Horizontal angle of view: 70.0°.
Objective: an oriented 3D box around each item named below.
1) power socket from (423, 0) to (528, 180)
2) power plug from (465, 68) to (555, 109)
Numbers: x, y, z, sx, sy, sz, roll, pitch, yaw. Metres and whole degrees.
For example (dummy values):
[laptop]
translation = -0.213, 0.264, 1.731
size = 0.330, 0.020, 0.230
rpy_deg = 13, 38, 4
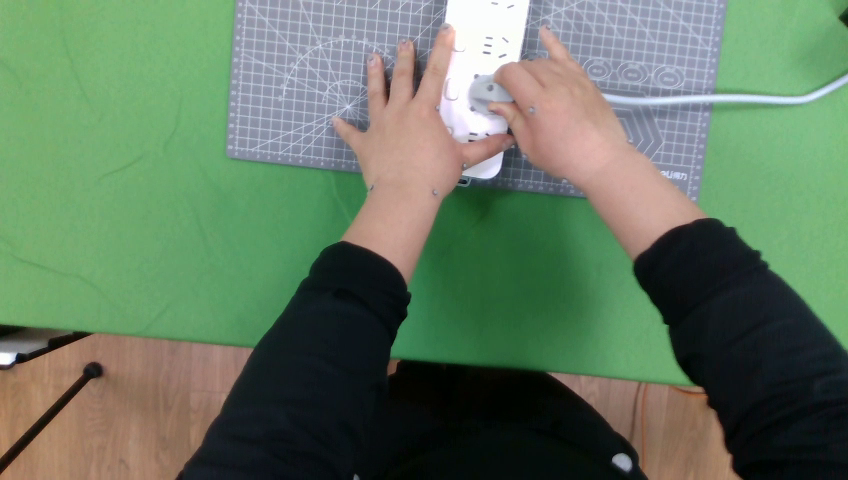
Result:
[power socket]
translation = 0.049, -0.168, 0.547
size = 0.072, 0.032, 0.227
rpy_deg = 9, 97, -1
[power plug]
translation = 0.071, -0.126, 0.532
size = 0.072, 0.052, 0.035
rpy_deg = 25, 95, -4
